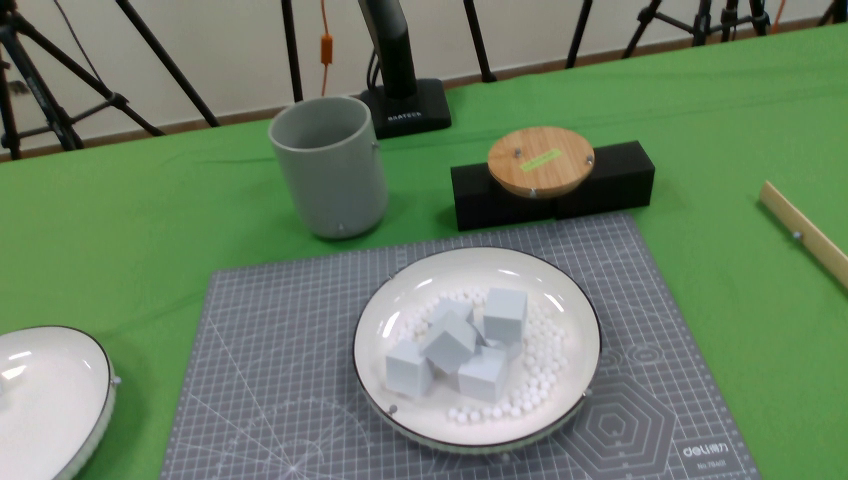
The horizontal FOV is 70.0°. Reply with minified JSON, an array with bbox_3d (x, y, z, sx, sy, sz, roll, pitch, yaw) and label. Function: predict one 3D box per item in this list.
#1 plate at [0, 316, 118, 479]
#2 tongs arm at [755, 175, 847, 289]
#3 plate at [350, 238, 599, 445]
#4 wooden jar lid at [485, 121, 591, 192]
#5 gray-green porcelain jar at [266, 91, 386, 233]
[{"bbox_3d":[-0.363,0.156,0.516,0.207,0.039,0.205,-5,44,5],"label":"plate"},{"bbox_3d":[0.394,0.064,0.490,0.028,0.028,0.383,-14,43,-6],"label":"tongs arm"},{"bbox_3d":[0.042,0.082,0.519,0.209,0.038,0.207,-5,43,5],"label":"plate"},{"bbox_3d":[0.118,-0.086,0.627,0.108,0.021,0.107,-4,44,5],"label":"wooden jar lid"},{"bbox_3d":[-0.100,-0.080,0.653,0.106,0.128,0.105,-5,43,5],"label":"gray-green porcelain jar"}]
